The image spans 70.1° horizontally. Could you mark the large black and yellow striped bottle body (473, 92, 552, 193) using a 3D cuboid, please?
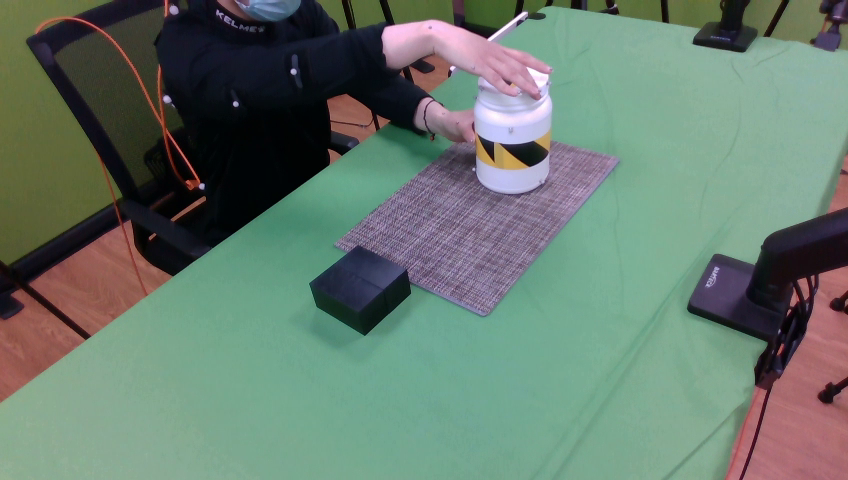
[{"bbox_3d":[0.151,-0.188,1.035,0.131,0.185,0.130,-4,41,4],"label":"large black and yellow striped bottle body"}]

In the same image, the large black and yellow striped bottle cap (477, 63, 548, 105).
[{"bbox_3d":[0.143,-0.254,0.979,0.115,0.019,0.114,-5,41,5],"label":"large black and yellow striped bottle cap"}]
